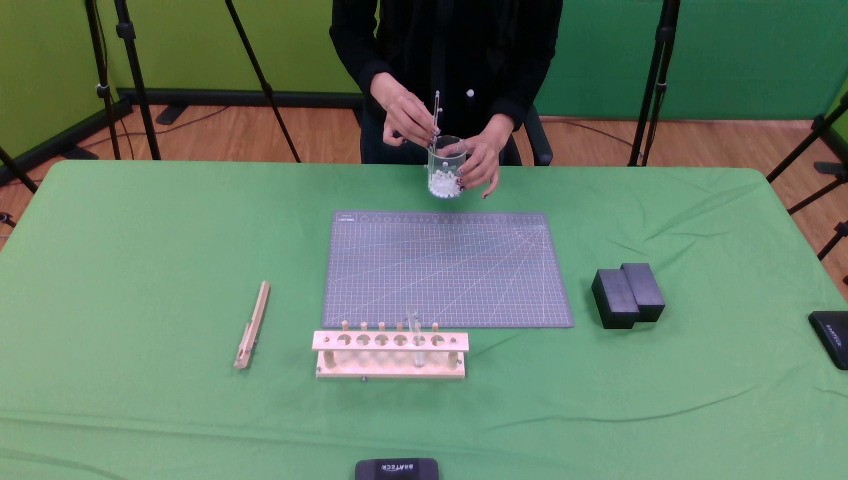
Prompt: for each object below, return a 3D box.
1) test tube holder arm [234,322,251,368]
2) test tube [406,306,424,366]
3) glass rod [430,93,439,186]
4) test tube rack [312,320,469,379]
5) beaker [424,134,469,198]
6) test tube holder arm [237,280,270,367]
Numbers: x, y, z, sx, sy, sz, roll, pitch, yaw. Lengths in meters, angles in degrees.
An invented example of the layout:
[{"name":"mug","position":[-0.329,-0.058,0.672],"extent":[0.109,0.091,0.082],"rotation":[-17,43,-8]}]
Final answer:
[{"name":"test tube holder arm","position":[-0.299,0.173,1.013],"extent":[0.010,0.015,0.087],"rotation":[-17,41,22]},{"name":"test tube","position":[-0.013,0.152,0.939],"extent":[0.017,0.151,0.017],"rotation":[-3,48,3]},{"name":"glass rod","position":[0.019,-0.177,1.095],"extent":[0.008,0.201,0.008],"rotation":[2,45,-2]},{"name":"test tube rack","position":[-0.054,0.173,0.984],"extent":[0.242,0.085,0.066],"rotation":[1,46,-3]},{"name":"beaker","position":[0.039,-0.136,1.137],"extent":[0.084,0.101,0.073],"rotation":[11,43,11]},{"name":"test tube holder arm","position":[-0.291,0.140,1.042],"extent":[0.013,0.015,0.177],"rotation":[-17,41,22]}]
